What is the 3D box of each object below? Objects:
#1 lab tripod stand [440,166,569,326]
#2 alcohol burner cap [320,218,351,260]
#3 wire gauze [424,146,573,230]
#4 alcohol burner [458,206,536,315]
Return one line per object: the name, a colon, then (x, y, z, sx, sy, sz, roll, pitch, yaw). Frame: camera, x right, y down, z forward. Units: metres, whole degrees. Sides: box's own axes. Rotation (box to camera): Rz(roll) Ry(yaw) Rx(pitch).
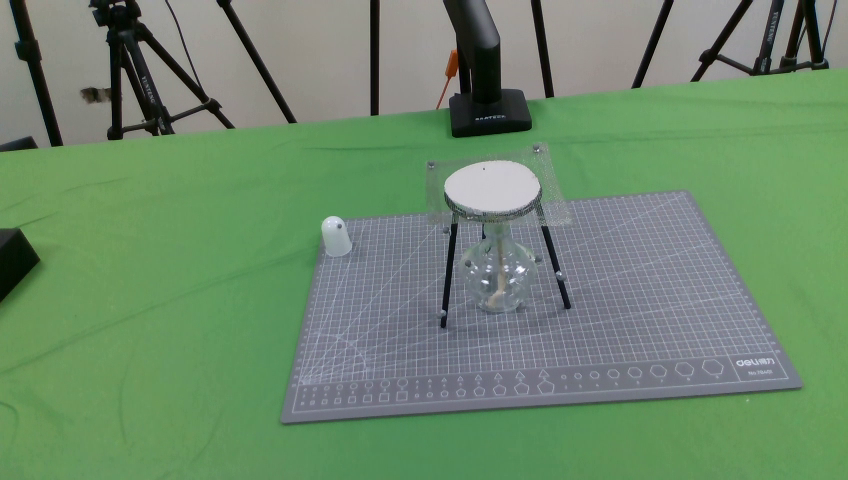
lab tripod stand: (0.072, 0.006, 0.591, 0.148, 0.133, 0.147, -3, 37, 3)
alcohol burner cap: (-0.105, -0.004, 0.706, 0.034, 0.048, 0.033, -4, 40, 3)
wire gauze: (0.062, -0.047, 0.548, 0.125, 0.011, 0.120, -4, 38, 2)
alcohol burner: (0.072, 0.015, 0.595, 0.078, 0.120, 0.077, -3, 38, 3)
